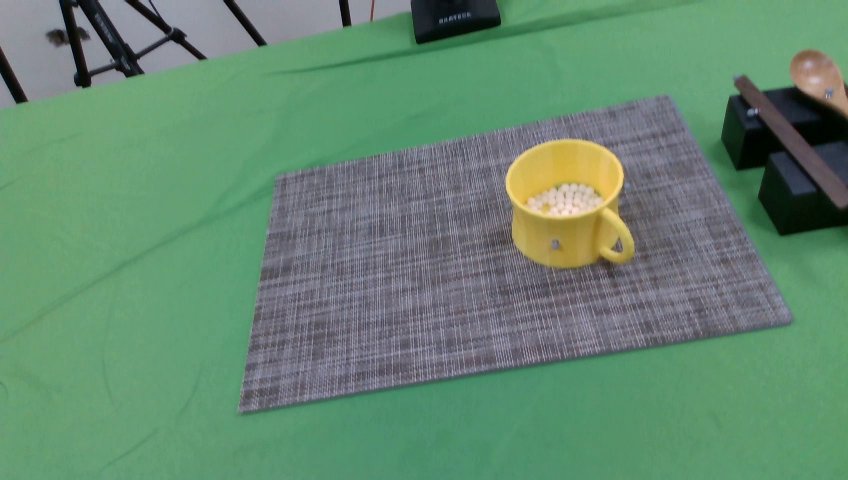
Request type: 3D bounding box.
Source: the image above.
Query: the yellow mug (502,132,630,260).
[{"bbox_3d":[0.131,-0.032,0.536,0.100,0.064,0.129,-34,51,-15],"label":"yellow mug"}]

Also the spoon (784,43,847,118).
[{"bbox_3d":[0.357,-0.102,0.506,0.041,0.022,0.191,-9,50,4],"label":"spoon"}]

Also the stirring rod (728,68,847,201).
[{"bbox_3d":[0.306,-0.096,0.518,0.014,0.006,0.174,-42,40,30],"label":"stirring rod"}]
